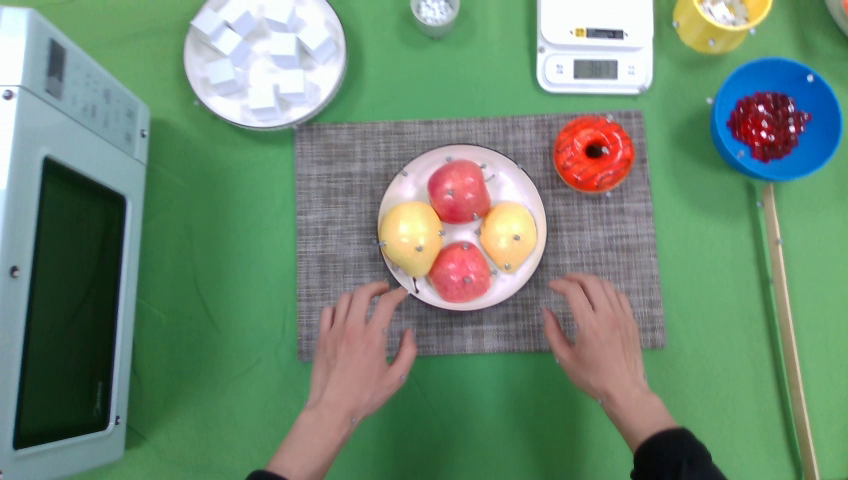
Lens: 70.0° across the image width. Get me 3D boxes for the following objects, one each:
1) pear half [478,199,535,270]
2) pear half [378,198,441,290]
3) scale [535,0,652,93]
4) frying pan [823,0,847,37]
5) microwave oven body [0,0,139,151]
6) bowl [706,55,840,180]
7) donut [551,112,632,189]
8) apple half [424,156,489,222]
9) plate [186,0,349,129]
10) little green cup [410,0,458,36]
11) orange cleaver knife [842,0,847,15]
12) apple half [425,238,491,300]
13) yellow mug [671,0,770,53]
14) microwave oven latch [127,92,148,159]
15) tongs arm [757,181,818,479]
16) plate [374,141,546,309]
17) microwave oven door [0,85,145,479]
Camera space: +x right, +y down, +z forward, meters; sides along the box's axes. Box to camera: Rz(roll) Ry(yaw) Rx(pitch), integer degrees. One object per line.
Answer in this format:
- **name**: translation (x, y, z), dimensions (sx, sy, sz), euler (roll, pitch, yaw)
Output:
- **pear half**: translation (0.099, -0.009, 0.736), dimensions (0.070, 0.031, 0.087), euler (-3, 79, 14)
- **pear half**: translation (-0.014, 0.004, 0.719), dimensions (0.076, 0.056, 0.109), euler (-8, 83, -10)
- **scale**: translation (0.222, -0.293, 0.794), dimensions (0.148, 0.031, 0.200), euler (2, 81, 1)
- **frying pan**: translation (0.696, -0.263, 0.749), dimensions (0.307, 0.103, 0.484), euler (-29, 74, -3)
- **microwave oven body**: translation (-0.514, 0.015, 0.631), dimensions (0.326, 0.261, 0.440), euler (0, 81, 0)
- **bowl**: translation (0.412, -0.140, 0.745), dimensions (0.151, 0.077, 0.151), euler (0, 81, 1)
- **donut**: translation (0.207, -0.112, 0.755), dimensions (0.099, 0.048, 0.098), euler (0, 81, 3)
- **apple half**: translation (0.039, -0.064, 0.734), dimensions (0.074, 0.053, 0.080), euler (-14, 84, 1)
- **plate**: translation (-0.199, -0.240, 0.786), dimensions (0.208, 0.039, 0.207), euler (0, 81, 1)
- **little green cup**: translation (0.014, -0.301, 0.794), dimensions (0.061, 0.039, 0.061), euler (0, 80, 1)
- **orange cleaver knife**: translation (0.529, -0.323, 0.740), dimensions (0.077, 0.012, 0.210), euler (-12, 81, -5)
- **apple half**: translation (0.040, 0.033, 0.727), dimensions (0.081, 0.033, 0.081), euler (0, 74, 1)
- **yellow mug**: translation (0.370, -0.314, 0.779), dimensions (0.100, 0.064, 0.130), euler (-34, 81, -4)
- **microwave oven latch**: translation (-0.362, -0.142, 0.753), dimensions (0.030, 0.029, 0.079), euler (2, 81, 0)
- **tongs arm**: translation (0.450, 0.118, 0.725), dimensions (0.051, 0.026, 0.383), euler (-2, 82, -5)
- **plate**: translation (0.045, -0.018, 0.744), dimensions (0.209, 0.038, 0.208), euler (0, 81, 1)
- **microwave oven door**: translation (-0.368, 0.056, 0.618), dimensions (0.039, 0.244, 0.354), euler (0, 80, 1)
